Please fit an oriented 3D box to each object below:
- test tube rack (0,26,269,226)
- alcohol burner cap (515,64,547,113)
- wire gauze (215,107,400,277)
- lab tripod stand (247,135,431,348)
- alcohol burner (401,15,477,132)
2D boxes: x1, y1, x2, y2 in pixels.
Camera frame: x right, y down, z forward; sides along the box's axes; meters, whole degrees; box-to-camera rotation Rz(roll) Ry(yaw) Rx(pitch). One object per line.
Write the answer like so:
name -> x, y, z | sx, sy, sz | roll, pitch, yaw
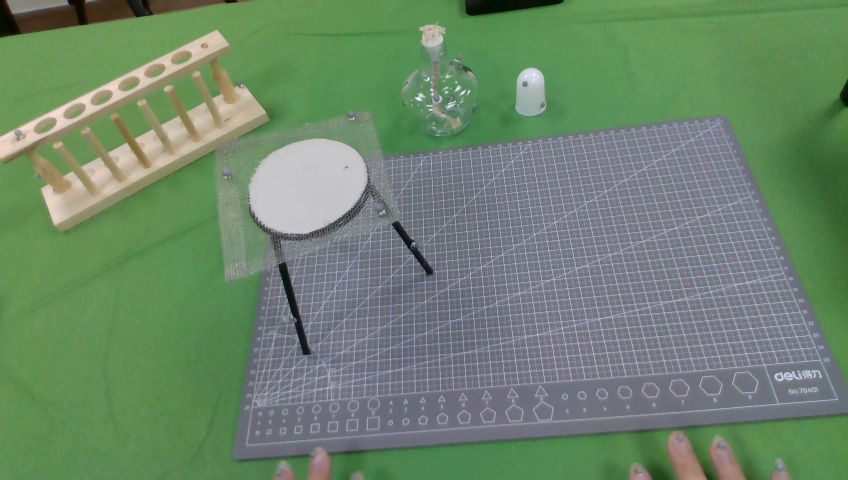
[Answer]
test tube rack -> -0.295, -0.120, 0.632 | 0.242, 0.086, 0.066 | -32, 57, -13
alcohol burner cap -> 0.110, -0.157, 0.621 | 0.034, 0.048, 0.033 | -5, 55, 8
wire gauze -> -0.086, -0.042, 0.427 | 0.121, 0.011, 0.123 | -15, 56, -2
lab tripod stand -> -0.075, -0.002, 0.481 | 0.148, 0.133, 0.147 | -4, 57, 6
alcohol burner -> 0.013, -0.166, 0.598 | 0.078, 0.120, 0.077 | -4, 53, 6
